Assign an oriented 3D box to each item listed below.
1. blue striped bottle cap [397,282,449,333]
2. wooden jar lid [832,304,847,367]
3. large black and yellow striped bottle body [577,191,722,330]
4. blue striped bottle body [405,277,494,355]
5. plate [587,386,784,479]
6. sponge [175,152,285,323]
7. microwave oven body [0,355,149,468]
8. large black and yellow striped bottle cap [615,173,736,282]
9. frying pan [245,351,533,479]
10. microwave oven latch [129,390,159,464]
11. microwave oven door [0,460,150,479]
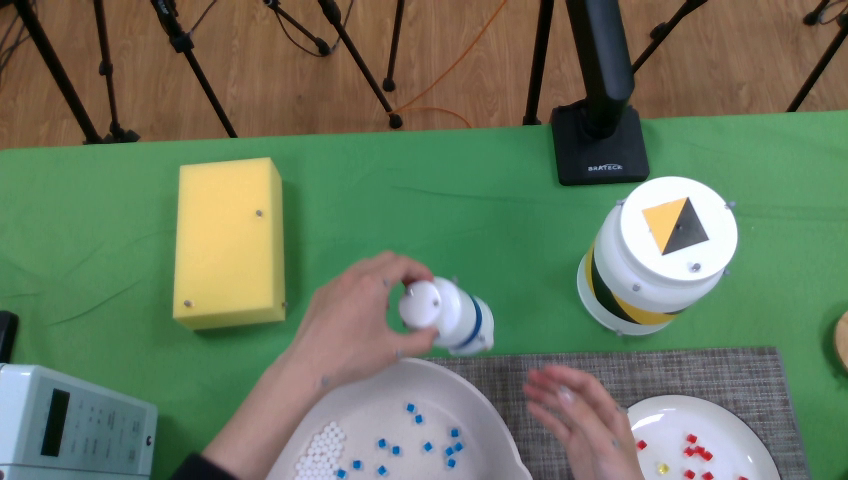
[{"bbox_3d":[-0.001,0.060,0.547,0.044,0.021,0.044,-9,63,19],"label":"blue striped bottle cap"},{"bbox_3d":[0.543,0.123,0.726,0.108,0.021,0.107,-1,70,2],"label":"wooden jar lid"},{"bbox_3d":[0.255,0.018,0.687,0.131,0.185,0.130,-1,68,2],"label":"large black and yellow striped bottle body"},{"bbox_3d":[0.021,0.074,0.593,0.063,0.122,0.062,-8,70,23],"label":"blue striped bottle body"},{"bbox_3d":[0.281,0.267,0.662,0.209,0.038,0.207,-1,68,2],"label":"plate"},{"bbox_3d":[-0.246,-0.004,0.775,0.118,0.061,0.205,-7,69,-1],"label":"sponge"},{"bbox_3d":[-0.469,0.343,0.532,0.326,0.262,0.438,-2,69,1],"label":"microwave oven body"},{"bbox_3d":[0.251,-0.014,0.607,0.115,0.019,0.114,-1,67,2],"label":"large black and yellow striped bottle cap"},{"bbox_3d":[-0.035,0.358,0.600,0.307,0.103,0.483,-4,60,3],"label":"frying pan"},{"bbox_3d":[-0.322,0.211,0.684,0.030,0.030,0.078,1,69,2],"label":"microwave oven latch"},{"bbox_3d":[-0.323,0.375,0.509,0.039,0.245,0.353,-2,68,1],"label":"microwave oven door"}]
